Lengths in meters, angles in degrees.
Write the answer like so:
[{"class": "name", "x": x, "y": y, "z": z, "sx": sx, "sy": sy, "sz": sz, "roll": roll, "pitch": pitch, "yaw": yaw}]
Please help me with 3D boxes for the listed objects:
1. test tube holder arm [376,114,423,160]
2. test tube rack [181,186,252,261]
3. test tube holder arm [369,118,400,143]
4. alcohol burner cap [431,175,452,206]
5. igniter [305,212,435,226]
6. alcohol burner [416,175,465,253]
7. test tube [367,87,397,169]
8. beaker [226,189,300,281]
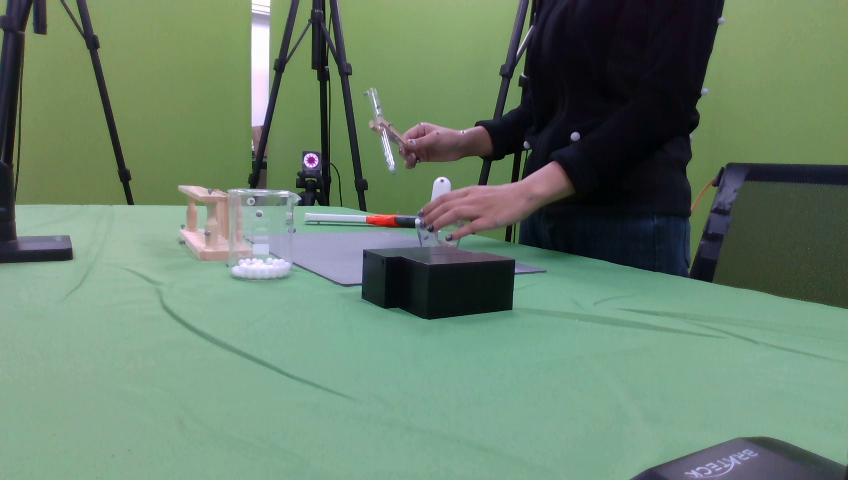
[{"class": "test tube holder arm", "x": -0.039, "y": -0.176, "z": 1.054, "sx": 0.013, "sy": 0.015, "sz": 0.179, "roll": -18, "pitch": -19, "yaw": 19}, {"class": "test tube rack", "x": -0.312, "y": -0.031, "z": 0.893, "sx": 0.067, "sy": 0.085, "sz": 0.241, "roll": -1, "pitch": 8, "yaw": -27}, {"class": "test tube holder arm", "x": -0.063, "y": -0.183, "z": 1.016, "sx": 0.010, "sy": 0.015, "sz": 0.088, "roll": -21, "pitch": -20, "yaw": 26}, {"class": "alcohol burner cap", "x": 0.029, "y": -0.075, "z": 0.931, "sx": 0.034, "sy": 0.048, "sz": 0.034, "roll": 6, "pitch": 5, "yaw": 0}, {"class": "igniter", "x": -0.114, "y": -0.046, "z": 1.296, "sx": 0.277, "sy": 0.025, "sz": 0.057, "roll": 1, "pitch": -2, "yaw": -11}, {"class": "alcohol burner", "x": 0.026, "y": -0.040, "z": 0.936, "sx": 0.078, "sy": 0.119, "sz": 0.078, "roll": 0, "pitch": 6, "yaw": 0}, {"class": "test tube", "x": -0.069, "y": -0.185, "z": 0.993, "sx": 0.017, "sy": 0.150, "sz": 0.017, "roll": -14, "pitch": -15, "yaw": -4}, {"class": "beaker", "x": -0.184, "y": -0.007, "z": 0.694, "sx": 0.084, "sy": 0.100, "sz": 0.073, "roll": -1, "pitch": 8, "yaw": -29}]
